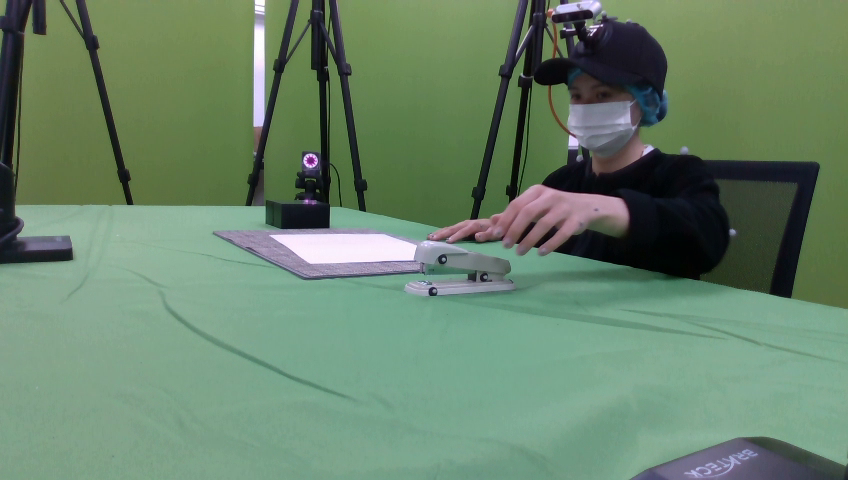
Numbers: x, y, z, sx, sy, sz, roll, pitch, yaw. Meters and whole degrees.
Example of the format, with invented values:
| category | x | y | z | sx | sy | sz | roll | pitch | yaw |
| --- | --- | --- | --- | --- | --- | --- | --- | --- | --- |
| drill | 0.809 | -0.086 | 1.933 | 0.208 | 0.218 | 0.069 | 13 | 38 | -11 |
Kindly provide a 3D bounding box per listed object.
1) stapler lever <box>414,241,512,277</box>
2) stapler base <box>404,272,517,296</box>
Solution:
| category | x | y | z | sx | sy | sz | roll | pitch | yaw |
| --- | --- | --- | --- | --- | --- | --- | --- | --- | --- |
| stapler lever | 0.044 | 0.021 | 0.667 | 0.119 | 0.040 | 0.026 | 0 | 9 | -29 |
| stapler base | 0.041 | 0.045 | 0.669 | 0.131 | 0.024 | 0.041 | 1 | 9 | -29 |
